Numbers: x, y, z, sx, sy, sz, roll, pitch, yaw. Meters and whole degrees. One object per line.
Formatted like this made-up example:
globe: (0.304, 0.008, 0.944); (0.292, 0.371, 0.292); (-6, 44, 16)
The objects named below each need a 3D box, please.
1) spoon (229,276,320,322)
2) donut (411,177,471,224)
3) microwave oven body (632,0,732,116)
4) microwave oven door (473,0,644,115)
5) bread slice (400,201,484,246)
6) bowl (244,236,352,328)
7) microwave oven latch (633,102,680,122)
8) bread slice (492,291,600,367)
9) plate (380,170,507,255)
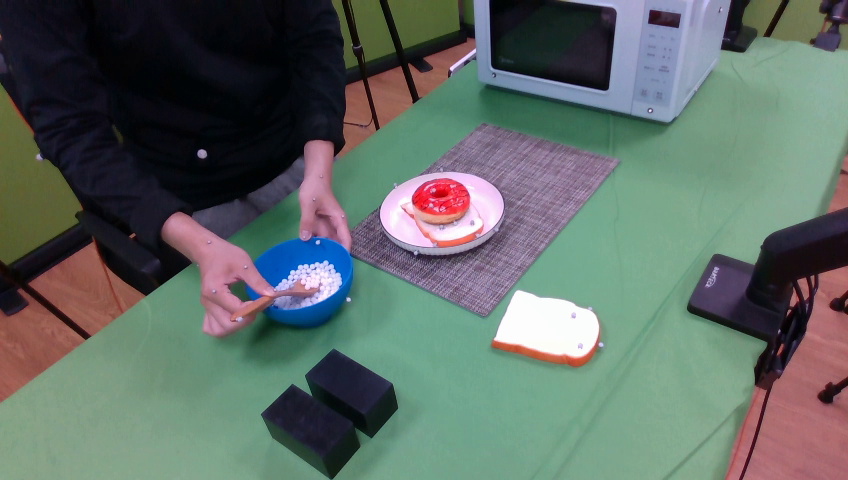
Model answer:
spoon: (-0.196, 0.075, 0.798); (0.041, 0.021, 0.194); (14, 11, 17)
donut: (0.028, -0.064, 0.978); (0.099, 0.048, 0.098); (-4, 40, 4)
microwave oven body: (0.377, -0.462, 1.267); (0.438, 0.261, 0.327); (21, 48, 30)
microwave oven door: (0.257, -0.396, 1.199); (0.353, 0.245, 0.039); (21, 48, 29)
bread slice: (0.037, -0.038, 0.990); (0.107, 0.018, 0.133); (-23, 43, -17)
bowl: (-0.171, 0.072, 0.865); (0.151, 0.077, 0.150); (-3, 41, 3)
microwave oven latch: (0.444, -0.249, 1.157); (0.078, 0.029, 0.030); (21, 49, 30)
bread slice: (0.169, 0.118, 0.811); (0.131, 0.019, 0.105); (11, 44, 21)
plate: (0.033, -0.042, 0.995); (0.207, 0.039, 0.206); (-4, 40, 4)
